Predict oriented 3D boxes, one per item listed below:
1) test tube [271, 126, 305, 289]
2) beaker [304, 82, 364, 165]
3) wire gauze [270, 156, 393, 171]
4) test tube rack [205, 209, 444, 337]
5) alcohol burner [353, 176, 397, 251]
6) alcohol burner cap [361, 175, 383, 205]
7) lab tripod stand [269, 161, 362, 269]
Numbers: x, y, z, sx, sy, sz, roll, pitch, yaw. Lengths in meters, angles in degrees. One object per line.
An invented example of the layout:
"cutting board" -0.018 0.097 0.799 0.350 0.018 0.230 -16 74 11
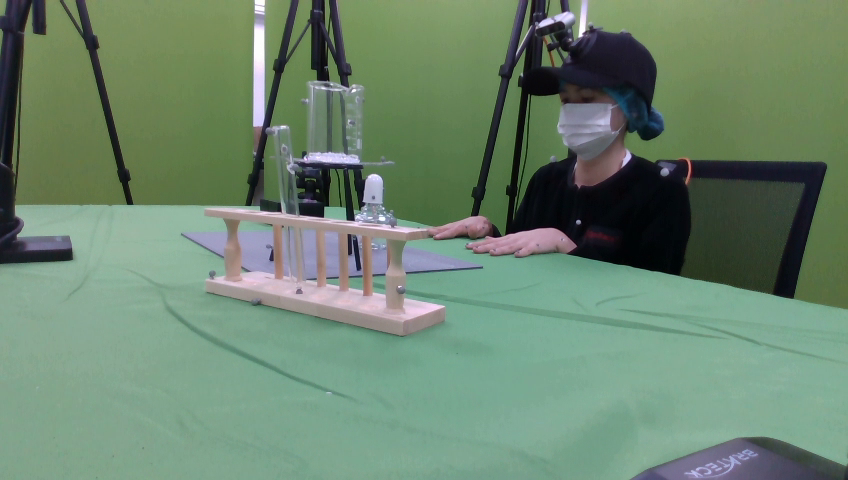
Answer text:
"test tube" -0.124 -0.028 0.554 0.017 0.150 0.017 -5 7 1
"beaker" -0.115 -0.148 0.779 0.074 0.100 0.083 -2 10 -30
"wire gauze" -0.122 -0.100 0.786 0.122 0.011 0.124 -5 14 -38
"test tube rack" -0.100 0.021 0.565 0.241 0.085 0.067 7 9 32
"alcohol burner" -0.082 -0.043 0.950 0.078 0.119 0.078 1 8 0
"alcohol burner cap" -0.080 -0.078 0.945 0.034 0.048 0.034 5 7 0
"lab tripod stand" -0.125 -0.036 0.794 0.148 0.131 0.148 5 7 0
